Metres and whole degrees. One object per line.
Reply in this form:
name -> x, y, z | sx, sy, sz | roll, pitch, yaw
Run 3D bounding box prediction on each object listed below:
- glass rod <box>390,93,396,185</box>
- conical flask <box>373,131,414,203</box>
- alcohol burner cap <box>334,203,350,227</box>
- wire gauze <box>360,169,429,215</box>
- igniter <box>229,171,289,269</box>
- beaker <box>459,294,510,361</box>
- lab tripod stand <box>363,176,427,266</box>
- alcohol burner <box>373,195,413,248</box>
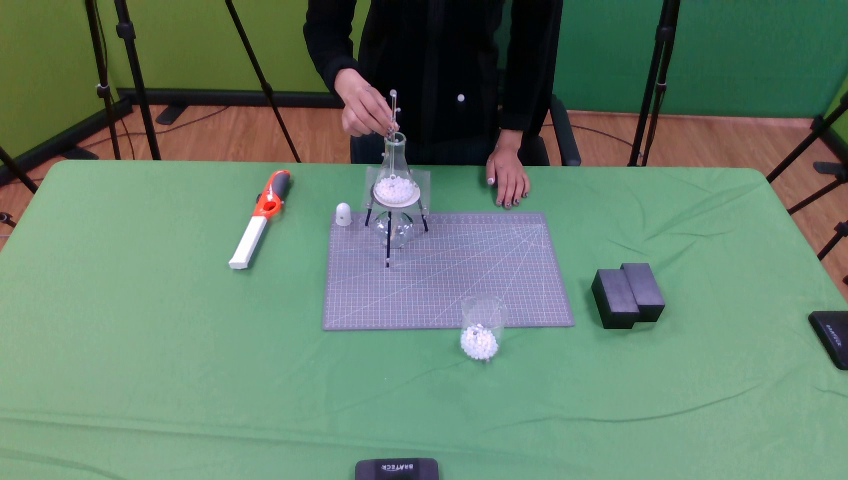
glass rod -> -0.053, -0.168, 1.039 | 0.008, 0.200, 0.008 | 3, 49, -3
conical flask -> -0.053, -0.131, 1.067 | 0.075, 0.122, 0.075 | 2, 44, -2
alcohol burner cap -> -0.166, -0.054, 1.221 | 0.034, 0.048, 0.033 | 2, 46, -2
wire gauze -> -0.052, -0.092, 1.111 | 0.125, 0.011, 0.120 | 3, 43, 1
igniter -> -0.328, -0.049, 1.218 | 0.057, 0.025, 0.275 | 1, 45, 10
beaker -> 0.095, 0.147, 1.012 | 0.083, 0.101, 0.074 | 26, 49, 21
lab tripod stand -> -0.058, -0.047, 1.159 | 0.148, 0.132, 0.147 | 3, 44, -2
alcohol burner -> -0.059, -0.041, 1.167 | 0.078, 0.119, 0.077 | 4, 46, -4
